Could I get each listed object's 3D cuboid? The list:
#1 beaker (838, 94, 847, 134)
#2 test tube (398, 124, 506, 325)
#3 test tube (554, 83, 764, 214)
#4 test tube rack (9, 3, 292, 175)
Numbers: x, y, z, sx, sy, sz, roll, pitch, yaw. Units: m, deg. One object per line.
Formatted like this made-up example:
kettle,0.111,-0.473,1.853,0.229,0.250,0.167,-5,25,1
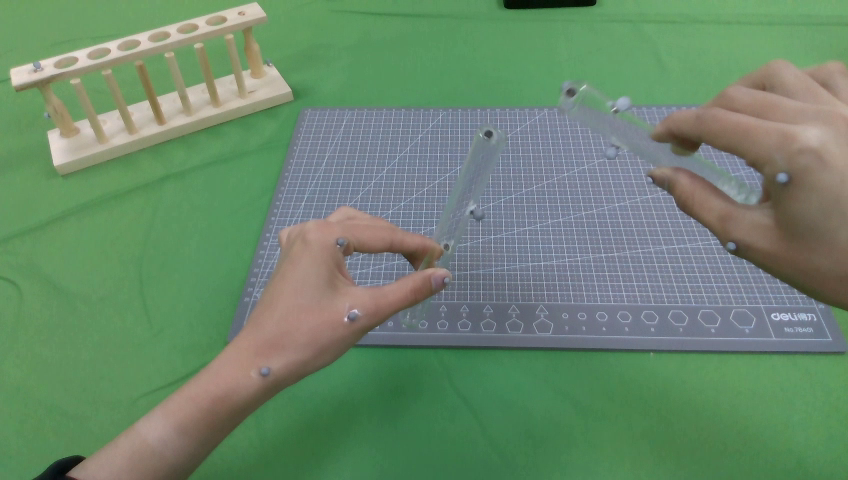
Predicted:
beaker,0.385,-0.130,0.481,0.074,0.101,0.083,-20,49,-15
test tube,0.012,-0.001,0.344,0.017,0.151,0.017,13,41,-11
test tube,0.124,-0.041,0.303,0.151,0.017,0.017,19,39,-29
test tube rack,-0.267,-0.157,0.617,0.243,0.086,0.066,-23,50,-18
